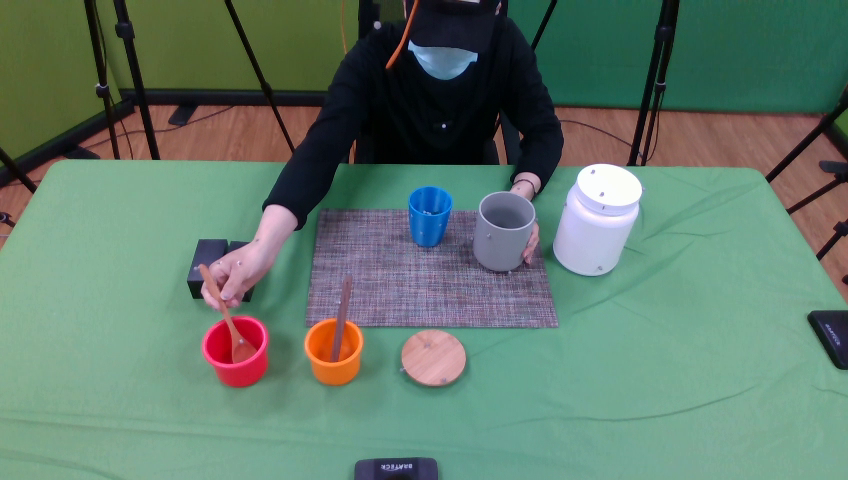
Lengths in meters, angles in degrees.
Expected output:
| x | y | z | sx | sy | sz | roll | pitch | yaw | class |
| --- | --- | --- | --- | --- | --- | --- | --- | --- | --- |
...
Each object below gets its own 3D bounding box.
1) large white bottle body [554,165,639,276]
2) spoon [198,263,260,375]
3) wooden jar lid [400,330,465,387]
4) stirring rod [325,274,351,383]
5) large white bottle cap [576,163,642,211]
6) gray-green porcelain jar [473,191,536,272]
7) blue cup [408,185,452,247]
| x | y | z | sx | sy | sz | roll | pitch | yaw | class |
| --- | --- | --- | --- | --- | --- | --- | --- | --- | --- |
| 0.326 | -0.037 | 1.141 | 0.131 | 0.185 | 0.130 | 2 | 46 | -2 | large white bottle body |
| -0.311 | 0.125 | 0.960 | 0.041 | 0.194 | 0.021 | -25 | 11 | -20 | spoon |
| 0.015 | 0.199 | 1.008 | 0.108 | 0.021 | 0.107 | 2 | 47 | -2 | wooden jar lid |
| -0.137 | 0.142 | 0.972 | 0.014 | 0.006 | 0.176 | 10 | 89 | -1 | stirring rod |
| 0.330 | -0.096 | 1.080 | 0.115 | 0.018 | 0.114 | 2 | 46 | -2 | large white bottle cap |
| 0.148 | -0.012 | 1.140 | 0.106 | 0.127 | 0.105 | 2 | 46 | -2 | gray-green porcelain jar |
| 0.008 | -0.041 | 1.176 | 0.093 | 0.101 | 0.092 | 3 | 46 | -3 | blue cup |
